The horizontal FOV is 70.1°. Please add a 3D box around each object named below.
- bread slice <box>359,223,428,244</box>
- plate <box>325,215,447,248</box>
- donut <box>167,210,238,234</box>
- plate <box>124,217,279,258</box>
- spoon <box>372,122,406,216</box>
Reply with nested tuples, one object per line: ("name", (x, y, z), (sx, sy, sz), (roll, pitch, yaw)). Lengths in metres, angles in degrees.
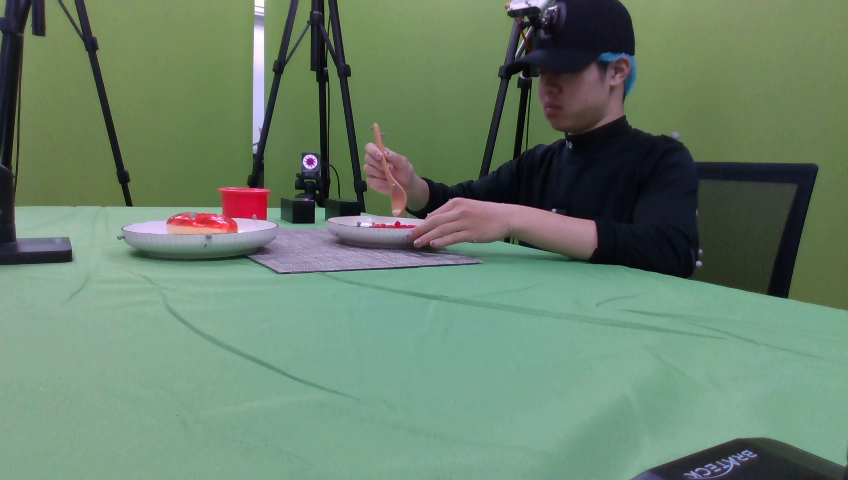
("bread slice", (-0.062, -0.012, 1.035), (0.105, 0.019, 0.131), (0, 10, -19))
("plate", (-0.065, -0.015, 1.035), (0.209, 0.038, 0.209), (3, 8, 0))
("donut", (-0.321, -0.017, 0.882), (0.099, 0.048, 0.099), (3, 6, 0))
("plate", (-0.315, -0.004, 0.871), (0.208, 0.039, 0.207), (1, 8, 0))
("spoon", (-0.063, -0.125, 1.029), (0.022, 0.193, 0.041), (1, -30, -40))
